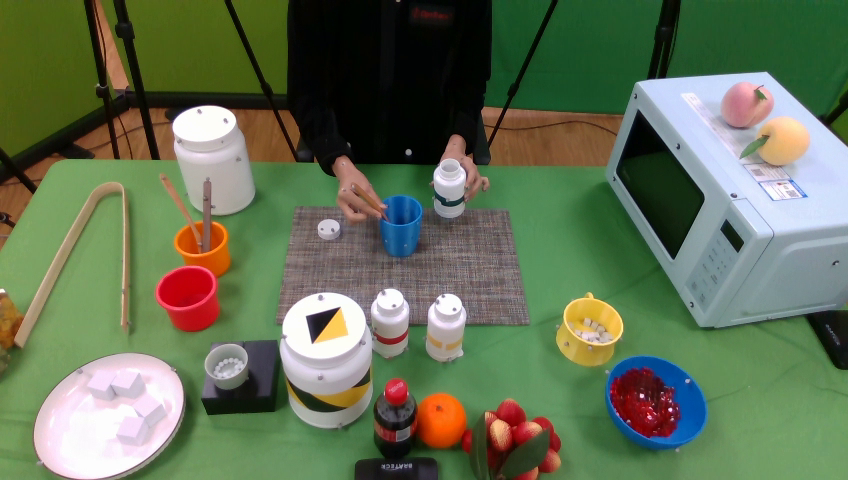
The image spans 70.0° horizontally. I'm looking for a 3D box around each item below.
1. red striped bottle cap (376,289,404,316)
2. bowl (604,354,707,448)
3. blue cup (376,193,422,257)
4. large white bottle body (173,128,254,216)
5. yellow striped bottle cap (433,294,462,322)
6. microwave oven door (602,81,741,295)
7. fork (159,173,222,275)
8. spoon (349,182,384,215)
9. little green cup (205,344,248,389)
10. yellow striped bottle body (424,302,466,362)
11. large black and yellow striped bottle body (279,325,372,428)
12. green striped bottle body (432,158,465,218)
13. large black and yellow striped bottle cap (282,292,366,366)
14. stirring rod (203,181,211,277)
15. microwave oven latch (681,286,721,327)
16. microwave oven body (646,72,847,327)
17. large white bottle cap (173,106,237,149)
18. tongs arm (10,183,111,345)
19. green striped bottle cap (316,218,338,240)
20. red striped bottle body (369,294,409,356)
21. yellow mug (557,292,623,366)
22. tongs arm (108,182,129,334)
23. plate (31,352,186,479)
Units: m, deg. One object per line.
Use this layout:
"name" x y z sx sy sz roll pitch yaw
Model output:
"red striped bottle cap" -0.054 0.098 0.958 0.044 0.018 0.044 0 48 1
"bowl" 0.346 0.261 0.937 0.151 0.077 0.150 2 46 -2
"blue cup" -0.047 -0.022 1.155 0.093 0.101 0.092 1 47 -1
"large white bottle body" -0.416 -0.154 1.199 0.131 0.185 0.130 2 46 -2
"yellow striped bottle cap" 0.037 0.107 0.959 0.044 0.019 0.044 2 45 -2
"microwave oven door" 0.456 -0.107 1.162 0.039 0.245 0.353 -7 47 -11
"fork" -0.427 -0.029 1.103 0.028 0.018 0.207 -31 99 -31
"spoon" -0.081 -0.045 1.115 0.021 0.195 0.041 -15 46 20
"little green cup" -0.294 0.191 0.909 0.061 0.039 0.061 1 47 -1
"yellow striped bottle body" 0.035 0.143 0.995 0.063 0.121 0.062 3 46 -2
"large black and yellow striped bottle body" -0.143 0.181 0.900 0.131 0.185 0.130 2 46 -2
"green striped bottle body" 0.047 -0.103 1.175 0.063 0.120 0.063 -1 53 1
"large black and yellow striped bottle cap" -0.138 0.121 0.841 0.115 0.019 0.114 3 47 -3
"stirring rod" -0.396 -0.021 1.108 0.014 0.006 0.176 -1 89 -2
"microwave oven latch" 0.494 0.119 1.086 0.030 0.029 0.078 -5 46 -9
"microwave oven body" 0.607 -0.089 1.164 0.326 0.261 0.438 -7 46 -10
"large white bottle cap" -0.411 -0.212 1.138 0.115 0.018 0.114 2 47 -2
"tongs arm" -0.658 0.027 1.109 0.028 0.028 0.385 -2 45 2
"green striped bottle cap" -0.193 -0.022 1.203 0.044 0.020 0.044 2 49 -3
"red striped bottle body" -0.059 0.134 0.997 0.063 0.120 0.062 5 47 -5
"yellow mug" 0.285 0.145 1.051 0.100 0.064 0.130 7 45 4
"tongs arm" -0.571 0.019 1.123 0.051 0.026 0.382 -11 47 -11
"plate" -0.459 0.262 0.898 0.209 0.038 0.208 2 46 -2
